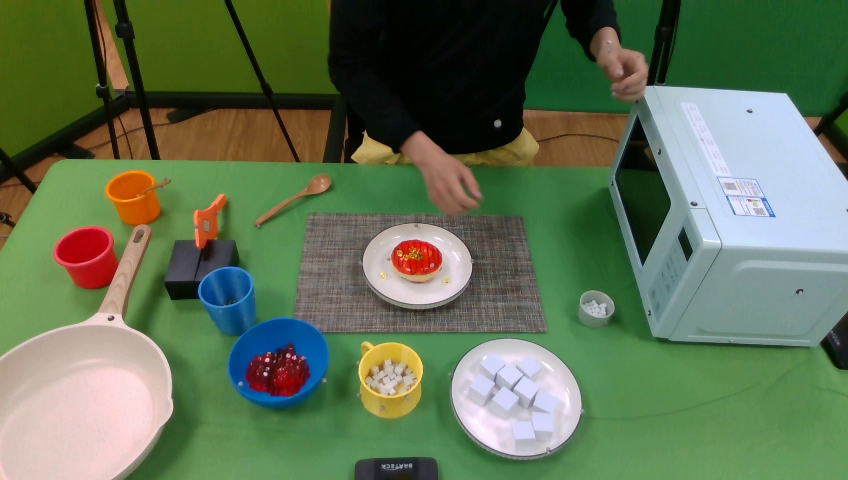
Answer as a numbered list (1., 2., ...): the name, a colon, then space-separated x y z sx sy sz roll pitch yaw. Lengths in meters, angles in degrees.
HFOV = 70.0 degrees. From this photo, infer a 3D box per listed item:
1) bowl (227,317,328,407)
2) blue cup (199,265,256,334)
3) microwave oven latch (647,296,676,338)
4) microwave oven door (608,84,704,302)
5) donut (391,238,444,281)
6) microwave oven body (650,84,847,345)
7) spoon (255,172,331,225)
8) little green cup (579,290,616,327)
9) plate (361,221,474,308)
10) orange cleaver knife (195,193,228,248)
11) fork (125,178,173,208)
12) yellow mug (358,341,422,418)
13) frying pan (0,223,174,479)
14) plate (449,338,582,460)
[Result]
1. bowl: -0.222 0.203 0.947 0.151 0.077 0.150 2 46 -2
2. blue cup: -0.321 0.106 1.015 0.093 0.101 0.092 2 49 -2
3. microwave oven latch: 0.413 0.133 1.060 0.030 0.029 0.078 4 46 1
4. microwave oven door: 0.424 -0.096 1.138 0.039 0.245 0.353 2 47 -1
5. donut: -0.012 0.035 1.128 0.099 0.048 0.098 3 43 -3
6. microwave oven body: 0.568 -0.054 1.116 0.326 0.261 0.439 2 46 -1
7. spoon: -0.272 -0.087 1.257 0.041 0.022 0.193 43 57 17
8. little green cup: 0.308 0.124 1.086 0.061 0.039 0.061 1 45 -1
9. plate: -0.011 0.049 1.130 0.209 0.038 0.208 2 46 -2
10. orange cleaver knife: -0.406 -0.041 1.163 0.012 0.077 0.210 0 18 -3
11. fork: -0.525 -0.090 1.154 0.207 0.019 0.028 -17 27 45
12. yellow mug: -0.063 0.210 0.961 0.100 0.064 0.130 -29 54 -28
13. frying pan: -0.504 0.169 0.941 0.307 0.103 0.485 5 54 -1
14. plate: 0.141 0.251 0.955 0.208 0.039 0.206 2 46 -2
